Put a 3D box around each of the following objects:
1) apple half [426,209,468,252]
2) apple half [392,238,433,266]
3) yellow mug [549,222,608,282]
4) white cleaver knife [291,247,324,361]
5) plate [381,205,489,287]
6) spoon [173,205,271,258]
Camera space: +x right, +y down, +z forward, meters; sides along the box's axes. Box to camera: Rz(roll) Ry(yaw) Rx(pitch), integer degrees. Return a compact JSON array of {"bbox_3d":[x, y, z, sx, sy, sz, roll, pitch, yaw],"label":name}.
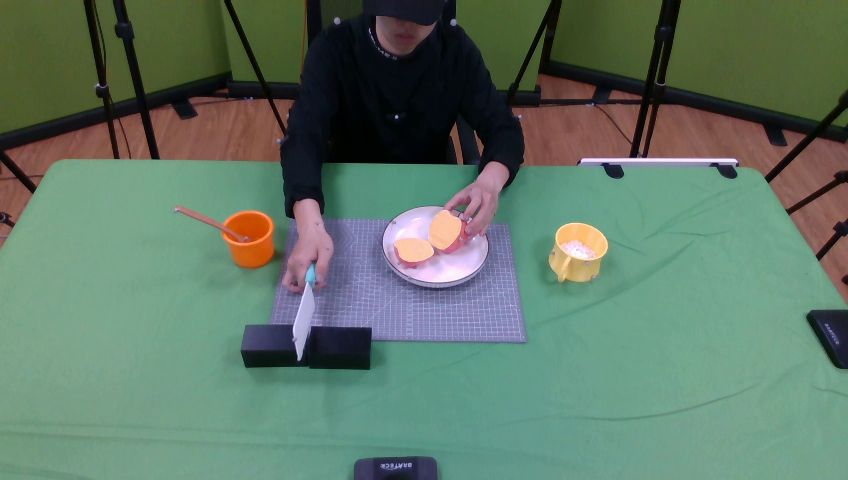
[{"bbox_3d":[0.049,-0.014,1.167,0.080,0.053,0.074,30,93,39],"label":"apple half"},{"bbox_3d":[-0.023,0.028,1.147,0.081,0.033,0.081,8,33,-5],"label":"apple half"},{"bbox_3d":[0.287,0.031,1.159,0.099,0.064,0.130,28,51,21],"label":"yellow mug"},{"bbox_3d":[-0.197,0.098,1.024,0.021,0.066,0.285,-2,28,1],"label":"white cleaver knife"},{"bbox_3d":[0.020,0.015,1.170,0.209,0.038,0.208,2,46,-2],"label":"plate"},{"bbox_3d":[-0.362,-0.017,1.098,0.021,0.195,0.041,-32,42,27],"label":"spoon"}]
